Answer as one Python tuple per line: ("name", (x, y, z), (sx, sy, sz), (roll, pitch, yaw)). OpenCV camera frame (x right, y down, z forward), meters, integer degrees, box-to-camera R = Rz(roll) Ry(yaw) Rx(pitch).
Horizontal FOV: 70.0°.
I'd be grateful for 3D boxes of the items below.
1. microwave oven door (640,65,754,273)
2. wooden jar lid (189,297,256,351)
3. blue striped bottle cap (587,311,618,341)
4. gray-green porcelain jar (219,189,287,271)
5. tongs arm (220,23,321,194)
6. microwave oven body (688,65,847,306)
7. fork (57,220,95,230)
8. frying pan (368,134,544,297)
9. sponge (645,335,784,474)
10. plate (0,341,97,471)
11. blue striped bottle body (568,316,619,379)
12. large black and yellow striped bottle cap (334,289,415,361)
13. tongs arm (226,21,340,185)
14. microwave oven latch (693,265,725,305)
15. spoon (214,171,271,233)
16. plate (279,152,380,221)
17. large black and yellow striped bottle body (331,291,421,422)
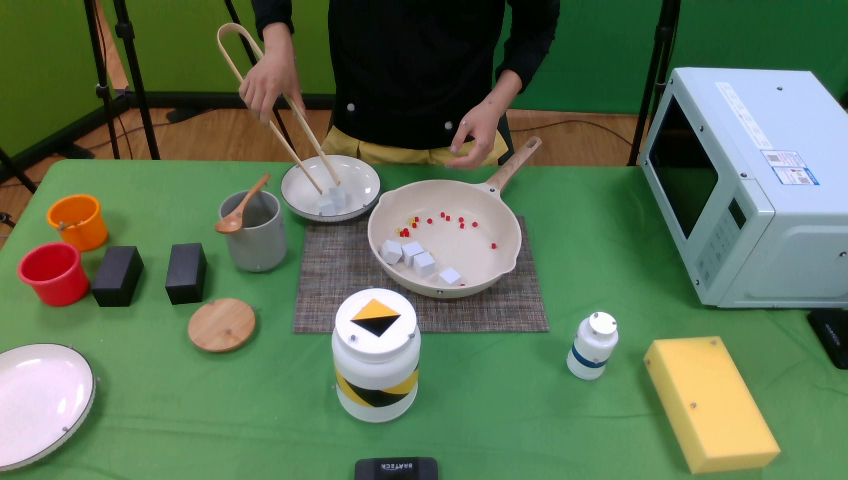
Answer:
("microwave oven door", (0.522, -0.147, 1.193), (0.039, 0.245, 0.353), (0, 47, -3))
("wooden jar lid", (-0.342, 0.145, 1.033), (0.108, 0.021, 0.107), (2, 45, -2))
("blue striped bottle cap", (0.279, 0.134, 0.947), (0.044, 0.021, 0.044), (2, 45, -2))
("gray-green porcelain jar", (-0.310, -0.014, 1.113), (0.106, 0.127, 0.105), (2, 46, -2))
("tongs arm", (-0.298, -0.253, 1.170), (0.028, 0.028, 0.387), (-31, 84, -12))
("microwave oven body", (0.669, -0.111, 1.176), (0.326, 0.261, 0.439), (0, 46, -3))
("fork", (-0.624, -0.027, 1.086), (0.028, 0.207, 0.018), (-3, 92, -17))
("frying pan", (0.104, -0.069, 1.205), (0.305, 0.103, 0.487), (32, 61, 23))
("sponge", (0.449, 0.253, 0.956), (0.118, 0.061, 0.205), (-4, 46, -7))
("plate", (-0.599, 0.247, 0.904), (0.209, 0.038, 0.208), (2, 47, -2))
("blue striped bottle body", (0.276, 0.168, 0.984), (0.063, 0.121, 0.062), (2, 46, -2))
("large black and yellow striped bottle cap", (-0.069, 0.117, 0.850), (0.115, 0.019, 0.114), (2, 45, -2))
("tongs arm", (-0.276, -0.266, 1.177), (0.051, 0.026, 0.384), (-27, 83, -15))
("microwave oven latch", (0.523, 0.081, 1.116), (0.030, 0.029, 0.078), (2, 46, -1))
("spoon", (-0.312, -0.070, 1.070), (0.041, 0.022, 0.193), (9, 43, 10))
("plate", (-0.196, -0.108, 1.269), (0.208, 0.039, 0.206), (2, 45, -2))
("large black and yellow striped bottle body", (-0.071, 0.175, 0.911), (0.131, 0.185, 0.130), (2, 47, -2))
